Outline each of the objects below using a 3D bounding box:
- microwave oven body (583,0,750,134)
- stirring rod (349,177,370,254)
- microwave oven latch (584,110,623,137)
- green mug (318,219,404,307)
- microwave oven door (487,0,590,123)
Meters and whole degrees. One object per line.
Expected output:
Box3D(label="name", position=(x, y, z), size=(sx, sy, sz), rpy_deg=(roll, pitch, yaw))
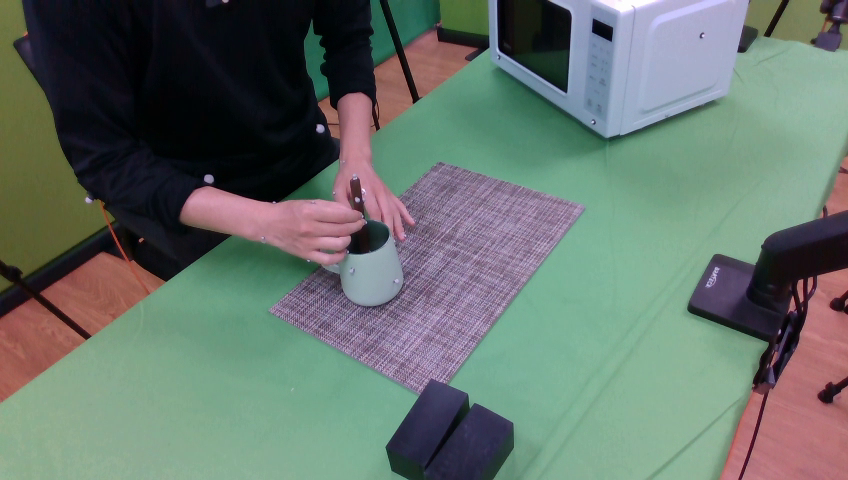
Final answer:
Box3D(label="microwave oven body", position=(0.382, -0.445, 1.246), size=(0.327, 0.261, 0.437), rpy_deg=(-22, 42, -16))
Box3D(label="stirring rod", position=(-0.087, -0.020, 0.841), size=(0.014, 0.177, 0.005), rpy_deg=(-26, 51, -21))
Box3D(label="microwave oven latch", position=(0.337, -0.222, 1.142), size=(0.030, 0.029, 0.078), rpy_deg=(-21, 42, -14))
Box3D(label="green mug", position=(-0.095, 0.032, 0.876), size=(0.125, 0.105, 0.092), rpy_deg=(8, 43, 17))
Box3D(label="microwave oven door", position=(0.232, -0.420, 1.230), size=(0.039, 0.245, 0.352), rpy_deg=(-22, 43, -16))
